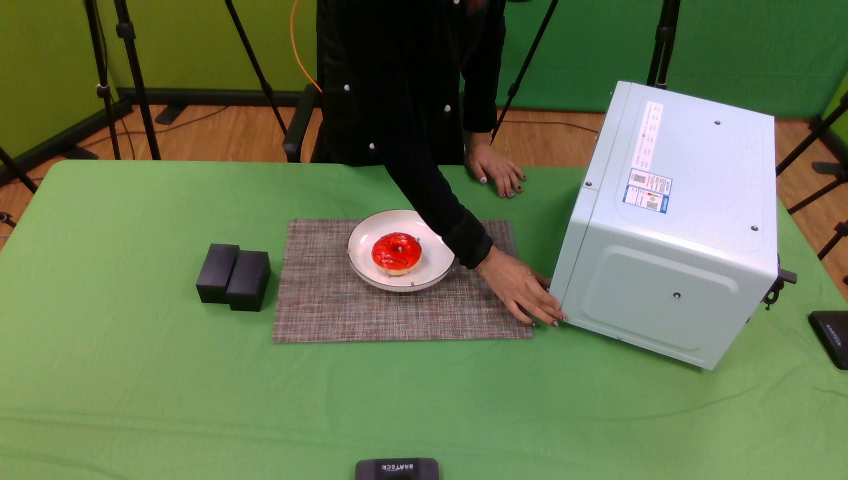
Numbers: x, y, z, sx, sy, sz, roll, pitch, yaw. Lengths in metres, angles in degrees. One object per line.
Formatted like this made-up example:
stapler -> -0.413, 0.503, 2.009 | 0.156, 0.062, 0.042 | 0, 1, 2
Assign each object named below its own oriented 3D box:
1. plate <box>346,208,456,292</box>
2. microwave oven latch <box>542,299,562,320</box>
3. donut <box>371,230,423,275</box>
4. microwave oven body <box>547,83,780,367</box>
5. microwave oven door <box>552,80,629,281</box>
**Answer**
plate -> -0.044, 0.021, 1.159 | 0.209, 0.038, 0.208 | 2, 47, -2
microwave oven latch -> 0.244, 0.107, 1.078 | 0.079, 0.029, 0.030 | -31, 54, -29
donut -> -0.051, 0.022, 1.142 | 0.099, 0.048, 0.098 | 1, 45, 0
microwave oven body -> 0.445, -0.041, 1.101 | 0.325, 0.261, 0.440 | 17, 47, 13
microwave oven door -> 0.324, -0.116, 1.156 | 0.039, 0.245, 0.354 | 18, 48, 13
